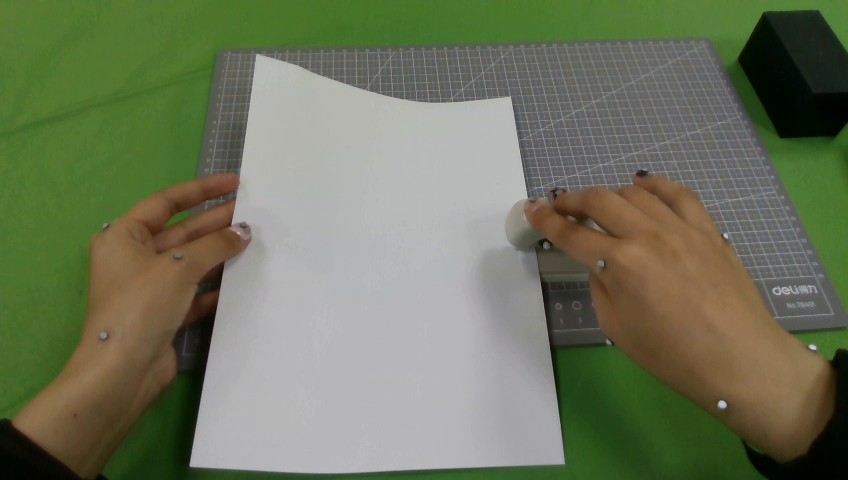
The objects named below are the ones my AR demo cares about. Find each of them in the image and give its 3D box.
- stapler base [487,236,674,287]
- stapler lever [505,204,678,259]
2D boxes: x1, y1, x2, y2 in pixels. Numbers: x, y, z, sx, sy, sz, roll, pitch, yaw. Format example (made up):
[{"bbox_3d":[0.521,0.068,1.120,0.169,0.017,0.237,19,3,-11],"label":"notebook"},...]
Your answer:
[{"bbox_3d":[0.110,0.009,0.421,0.131,0.024,0.041,0,58,-5],"label":"stapler base"},{"bbox_3d":[0.112,-0.005,0.401,0.118,0.040,0.026,-1,58,-3],"label":"stapler lever"}]
